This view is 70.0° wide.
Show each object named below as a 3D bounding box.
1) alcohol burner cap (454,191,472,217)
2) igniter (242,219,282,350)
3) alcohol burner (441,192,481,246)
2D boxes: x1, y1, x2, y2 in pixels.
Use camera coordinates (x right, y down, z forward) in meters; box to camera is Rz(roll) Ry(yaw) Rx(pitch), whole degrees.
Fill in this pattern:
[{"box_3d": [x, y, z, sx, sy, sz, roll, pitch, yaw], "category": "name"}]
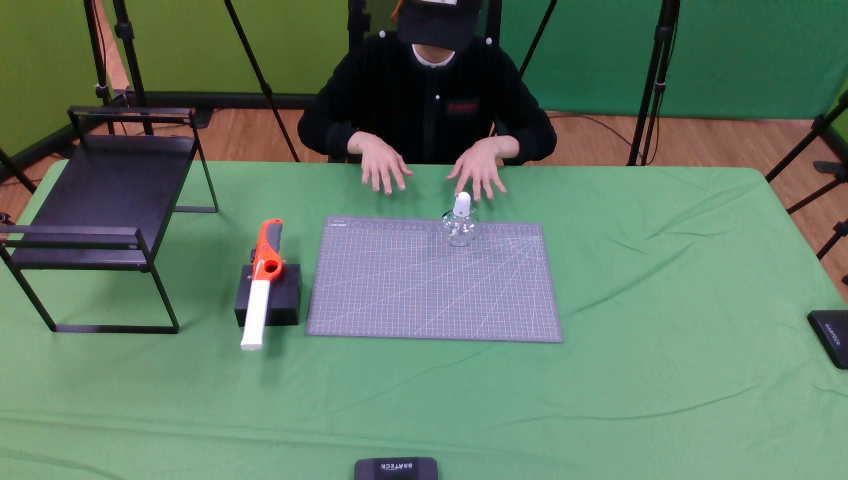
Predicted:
[{"box_3d": [0.076, -0.070, 1.150, 0.034, 0.048, 0.033, 3, 43, -2], "category": "alcohol burner cap"}, {"box_3d": [-0.277, 0.065, 1.043, 0.057, 0.025, 0.274, 1, 48, -6], "category": "igniter"}, {"box_3d": [0.073, -0.046, 1.176, 0.078, 0.119, 0.077, 2, 44, -2], "category": "alcohol burner"}]
